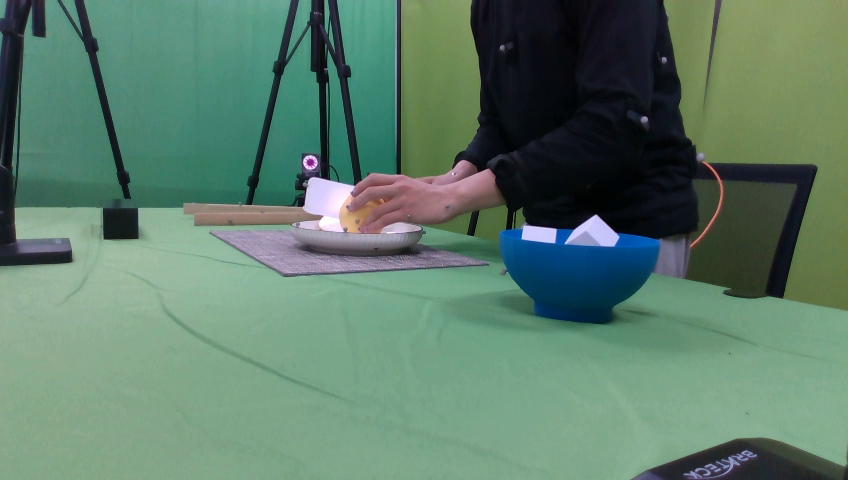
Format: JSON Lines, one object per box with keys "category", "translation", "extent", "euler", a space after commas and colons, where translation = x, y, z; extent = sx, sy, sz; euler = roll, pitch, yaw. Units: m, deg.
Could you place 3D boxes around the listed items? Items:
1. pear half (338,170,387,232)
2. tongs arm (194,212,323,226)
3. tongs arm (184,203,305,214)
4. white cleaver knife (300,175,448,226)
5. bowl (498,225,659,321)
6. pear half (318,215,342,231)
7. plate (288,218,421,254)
{"category": "pear half", "translation": [-0.087, -0.051, 0.930], "extent": [0.077, 0.110, 0.055], "euler": [-17, 33, -42]}
{"category": "tongs arm", "translation": [-0.298, -0.049, 1.307], "extent": [0.390, 0.028, 0.028], "euler": [-4, 8, -38]}
{"category": "tongs arm", "translation": [-0.337, -0.065, 1.376], "extent": [0.387, 0.026, 0.050], "euler": [0, 10, -25]}
{"category": "white cleaver knife", "translation": [-0.074, -0.056, 0.999], "extent": [0.288, 0.066, 0.021], "euler": [6, -5, -37]}
{"category": "bowl", "translation": [0.144, 0.031, 0.585], "extent": [0.151, 0.077, 0.151], "euler": [2, 7, 0]}
{"category": "pear half", "translation": [-0.142, -0.021, 1.013], "extent": [0.071, 0.031, 0.087], "euler": [-4, 26, -23]}
{"category": "plate", "translation": [-0.109, -0.008, 0.956], "extent": [0.208, 0.039, 0.207], "euler": [2, 7, 0]}
